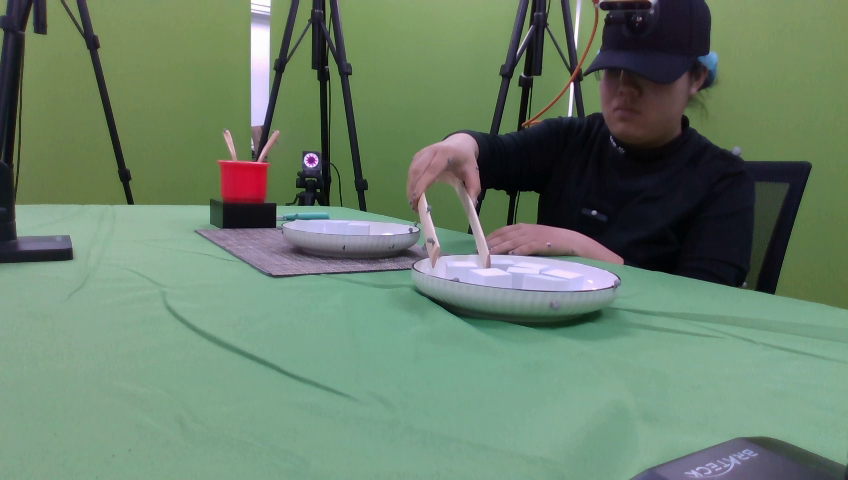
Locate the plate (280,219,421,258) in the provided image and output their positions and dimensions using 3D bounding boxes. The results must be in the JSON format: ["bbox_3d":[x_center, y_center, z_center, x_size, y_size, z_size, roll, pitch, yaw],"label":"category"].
[{"bbox_3d":[-0.108,-0.002,0.902,0.208,0.039,0.207,3,7,0],"label":"plate"}]

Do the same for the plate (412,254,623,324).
[{"bbox_3d":[0.090,0.047,0.609,0.209,0.038,0.209,2,7,0],"label":"plate"}]

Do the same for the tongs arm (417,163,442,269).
[{"bbox_3d":[0.016,-0.045,0.780,0.051,0.026,0.384,5,19,-8],"label":"tongs arm"}]

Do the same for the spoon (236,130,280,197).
[{"bbox_3d":[-0.321,-0.154,1.192,0.041,0.193,0.022,1,-37,19],"label":"spoon"}]

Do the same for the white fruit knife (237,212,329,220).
[{"bbox_3d":[-0.304,-0.050,1.328,0.208,0.016,0.027,-3,-19,-29],"label":"white fruit knife"}]

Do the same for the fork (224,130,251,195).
[{"bbox_3d":[-0.372,-0.155,1.193,0.028,0.018,0.206,-17,54,-13],"label":"fork"}]

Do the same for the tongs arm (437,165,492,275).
[{"bbox_3d":[0.049,-0.041,0.783,0.028,0.028,0.386,2,20,-5],"label":"tongs arm"}]
